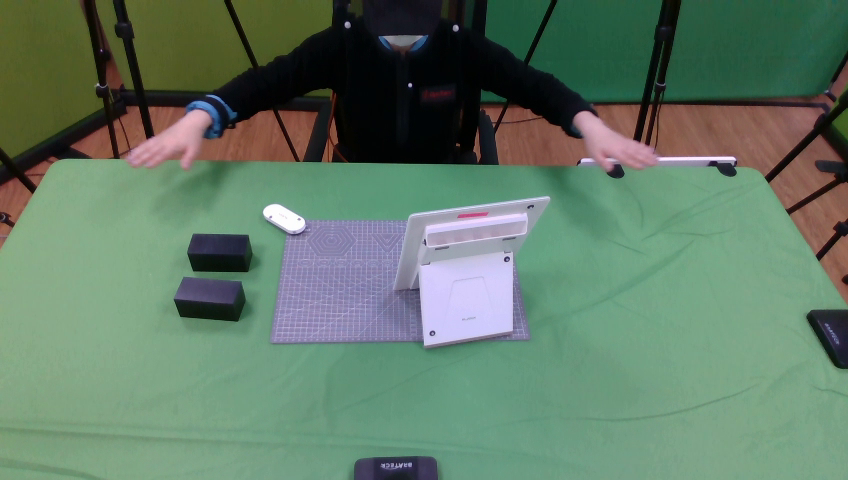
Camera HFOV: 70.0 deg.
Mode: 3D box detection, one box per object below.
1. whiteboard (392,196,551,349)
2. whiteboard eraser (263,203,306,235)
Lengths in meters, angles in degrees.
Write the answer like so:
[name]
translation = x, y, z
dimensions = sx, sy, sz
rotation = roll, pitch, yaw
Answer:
[whiteboard]
translation = 0.077, 0.071, 0.977
dimensions = 0.217, 0.306, 0.143
rotation = -7, 67, -11
[whiteboard eraser]
translation = -0.281, -0.043, 1.216
dimensions = 0.101, 0.019, 0.041
rotation = 29, 53, 25
